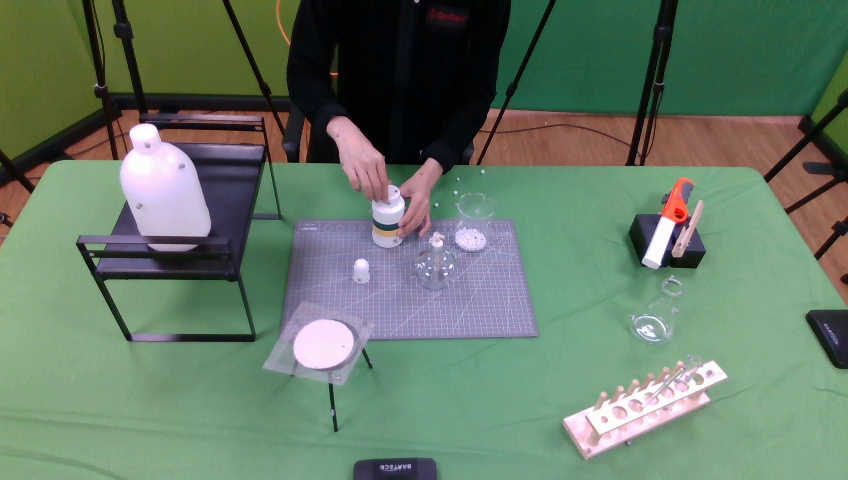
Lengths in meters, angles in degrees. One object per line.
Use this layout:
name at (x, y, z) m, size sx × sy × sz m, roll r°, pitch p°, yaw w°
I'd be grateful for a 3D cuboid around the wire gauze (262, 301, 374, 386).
wire gauze at (-0.150, 0.148, 0.873) m, size 0.121 × 0.011 × 0.124 m, roll 14°, pitch 46°, yaw 12°

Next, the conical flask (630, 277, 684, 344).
conical flask at (0.408, 0.117, 1.045) m, size 0.075 × 0.122 × 0.075 m, roll 2°, pitch 46°, yaw -2°

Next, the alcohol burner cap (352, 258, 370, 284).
alcohol burner cap at (-0.117, 0.055, 1.118) m, size 0.034 × 0.048 × 0.033 m, roll 1°, pitch 46°, yaw -1°

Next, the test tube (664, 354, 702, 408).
test tube at (0.385, 0.215, 0.906) m, size 0.017 × 0.151 × 0.017 m, roll -1°, pitch 49°, yaw 1°

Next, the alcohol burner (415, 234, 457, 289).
alcohol burner at (0.022, 0.033, 1.099) m, size 0.078 × 0.120 × 0.077 m, roll 1°, pitch 47°, yaw -1°

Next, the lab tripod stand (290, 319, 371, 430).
lab tripod stand at (-0.146, 0.193, 0.923) m, size 0.148 × 0.132 × 0.147 m, roll 1°, pitch 47°, yaw -1°

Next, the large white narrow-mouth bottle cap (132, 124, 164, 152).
large white narrow-mouth bottle cap at (-0.371, -0.138, 0.812) m, size 0.038 × 0.024 × 0.037 m, roll 3°, pitch 46°, yaw -3°

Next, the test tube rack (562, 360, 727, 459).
test tube rack at (0.341, 0.247, 0.940) m, size 0.243 × 0.085 × 0.066 m, roll -16°, pitch 49°, yaw -18°

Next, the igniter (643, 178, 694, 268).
igniter at (0.488, -0.042, 1.205) m, size 0.057 × 0.025 × 0.276 m, roll 30°, pitch 51°, yaw 11°

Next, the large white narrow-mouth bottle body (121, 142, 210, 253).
large white narrow-mouth bottle body at (-0.378, -0.077, 0.875) m, size 0.102 × 0.195 × 0.101 m, roll 3°, pitch 46°, yaw -3°

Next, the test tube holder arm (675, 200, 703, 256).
test tube holder arm at (0.523, -0.025, 1.190) m, size 0.013 × 0.015 × 0.178 m, roll 1°, pitch 36°, yaw 42°

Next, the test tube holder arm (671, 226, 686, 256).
test tube holder arm at (0.494, 0.001, 1.167) m, size 0.010 × 0.015 × 0.087 m, roll 1°, pitch 36°, yaw 42°

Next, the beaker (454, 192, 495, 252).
beaker at (0.097, -0.034, 1.180) m, size 0.074 × 0.101 × 0.084 m, roll 23°, pitch 48°, yaw 17°

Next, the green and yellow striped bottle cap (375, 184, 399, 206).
green and yellow striped bottle cap at (-0.068, -0.084, 1.126) m, size 0.045 × 0.020 × 0.045 m, roll 3°, pitch 44°, yaw -3°

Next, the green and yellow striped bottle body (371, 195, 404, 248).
green and yellow striped bottle body at (-0.071, -0.047, 1.166) m, size 0.063 × 0.120 × 0.063 m, roll 2°, pitch 46°, yaw -2°

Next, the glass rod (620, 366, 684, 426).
glass rod at (0.322, 0.227, 0.866) m, size 0.008 × 0.200 × 0.008 m, roll 5°, pitch 51°, yaw -7°
